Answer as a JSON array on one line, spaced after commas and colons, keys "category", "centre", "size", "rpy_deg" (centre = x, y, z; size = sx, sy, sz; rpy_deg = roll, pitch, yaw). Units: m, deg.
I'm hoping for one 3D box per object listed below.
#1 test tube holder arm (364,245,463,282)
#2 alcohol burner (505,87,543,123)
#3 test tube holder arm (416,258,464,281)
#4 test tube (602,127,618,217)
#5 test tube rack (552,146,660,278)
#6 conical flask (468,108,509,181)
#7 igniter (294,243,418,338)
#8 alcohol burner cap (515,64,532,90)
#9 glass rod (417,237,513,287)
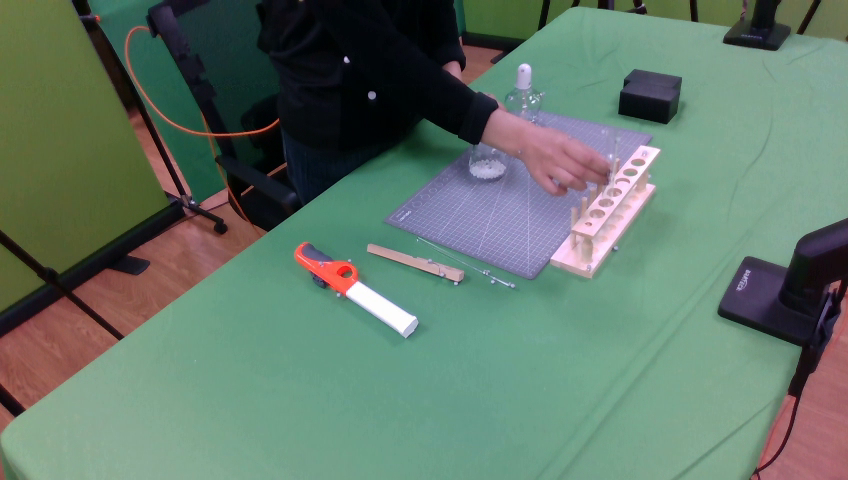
[{"category": "test tube holder arm", "centre": [-0.020, 0.035, 0.947], "size": [0.177, 0.015, 0.013], "rpy_deg": [16, 10, 26]}, {"category": "alcohol burner", "centre": [0.202, -0.298, 1.221], "size": [0.078, 0.119, 0.077], "rpy_deg": [-4, 39, 4]}, {"category": "test tube holder arm", "centre": [0.022, 0.045, 0.931], "size": [0.087, 0.015, 0.010], "rpy_deg": [16, 10, 28]}, {"category": "test tube", "centre": [0.262, -0.091, 0.855], "size": [0.017, 0.151, 0.017], "rpy_deg": [-6, 39, 5]}, {"category": "test tube rack", "centre": [0.286, -0.053, 0.943], "size": [0.066, 0.085, 0.243], "rpy_deg": [21, 49, 32]}, {"category": "conical flask", "centre": [0.112, -0.174, 1.086], "size": [0.075, 0.122, 0.075], "rpy_deg": [-6, 40, 5]}, {"category": "igniter", "centre": [-0.113, 0.070, 0.919], "size": [0.274, 0.025, 0.057], "rpy_deg": [29, 63, 37]}, {"category": "alcohol burner cap", "centre": [0.199, -0.325, 1.198], "size": [0.034, 0.048, 0.033], "rpy_deg": [0, 46, 0]}, {"category": "glass rod", "centre": [0.059, 0.032, 0.945], "size": [0.198, 0.008, 0.008], "rpy_deg": [27, 52, 38]}]
